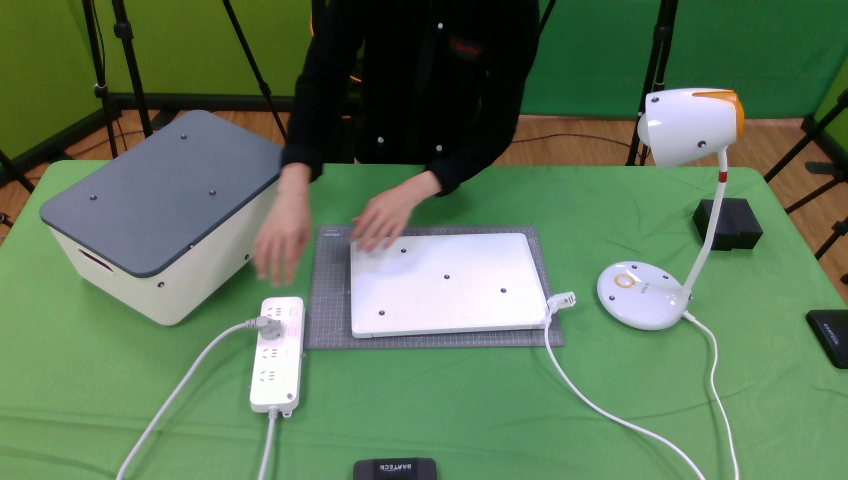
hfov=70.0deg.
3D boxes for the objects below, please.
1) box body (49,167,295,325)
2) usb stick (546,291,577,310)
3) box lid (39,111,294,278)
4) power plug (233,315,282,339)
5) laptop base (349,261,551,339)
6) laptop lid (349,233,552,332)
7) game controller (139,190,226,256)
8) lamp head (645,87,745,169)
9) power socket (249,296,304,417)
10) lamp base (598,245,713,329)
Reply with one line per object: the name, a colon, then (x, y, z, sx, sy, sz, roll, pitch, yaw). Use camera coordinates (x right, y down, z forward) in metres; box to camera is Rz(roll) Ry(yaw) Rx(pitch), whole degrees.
box body: (-0.437, -0.046, 1.110, 0.253, 0.161, 0.363, 24, 49, 19)
usb stick: (0.242, 0.110, 1.087, 0.027, 0.059, 0.021, -35, 102, -43)
box lid: (-0.435, -0.097, 1.055, 0.262, 0.015, 0.370, 25, 49, 18)
power plug: (-0.271, 0.143, 0.999, 0.072, 0.053, 0.035, 6, 47, 3)
laptop base: (0.040, 0.080, 1.125, 0.355, 0.023, 0.234, -2, 43, -6)
laptop lid: (0.040, 0.070, 1.119, 0.357, 0.013, 0.240, -1, 44, -5)
game controller: (-0.436, -0.038, 1.080, 0.097, 0.052, 0.154, -38, 60, -26)
lamp head: (0.382, -0.161, 0.852, 0.122, 0.113, 0.112, -4, 42, 25)
power socket: (-0.239, 0.182, 0.996, 0.072, 0.033, 0.225, -2, 47, -5)
lamp base: (0.420, 0.051, 1.071, 0.179, 0.181, 0.160, 22, 49, 13)
